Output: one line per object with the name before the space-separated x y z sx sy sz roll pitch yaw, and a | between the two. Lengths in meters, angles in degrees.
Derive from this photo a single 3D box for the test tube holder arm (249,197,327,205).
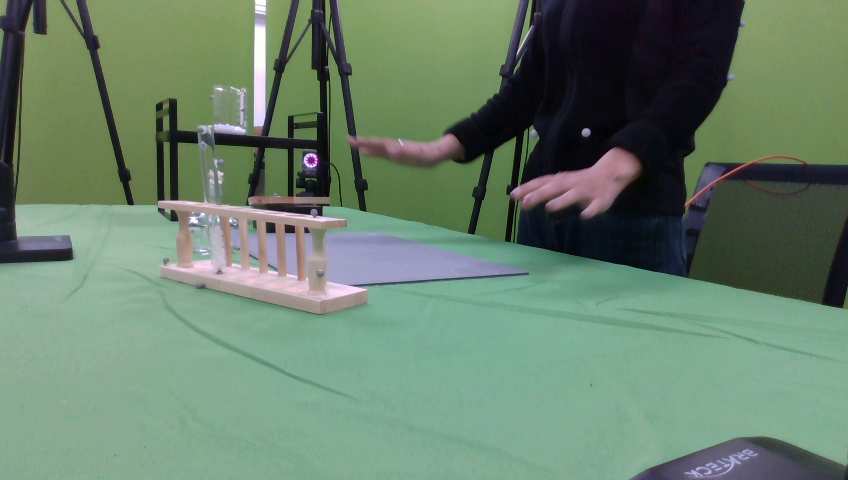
test tube holder arm | -0.253 -0.075 1.147 0.013 0.015 0.179 6 7 38

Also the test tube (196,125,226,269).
test tube | -0.220 -0.043 0.626 0.017 0.150 0.017 -2 10 1

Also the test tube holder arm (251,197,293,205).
test tube holder arm | -0.277 -0.072 1.108 0.010 0.015 0.088 6 7 39

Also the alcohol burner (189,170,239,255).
alcohol burner | -0.298 -0.039 0.853 0.078 0.119 0.078 3 6 0

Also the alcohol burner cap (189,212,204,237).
alcohol burner cap | -0.389 -0.029 1.026 0.034 0.048 0.034 3 8 0

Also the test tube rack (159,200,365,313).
test tube rack | -0.173 0.009 0.624 0.241 0.085 0.067 7 9 34

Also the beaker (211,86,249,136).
beaker | -0.413 -0.274 1.297 0.074 0.100 0.083 -5 11 -44
